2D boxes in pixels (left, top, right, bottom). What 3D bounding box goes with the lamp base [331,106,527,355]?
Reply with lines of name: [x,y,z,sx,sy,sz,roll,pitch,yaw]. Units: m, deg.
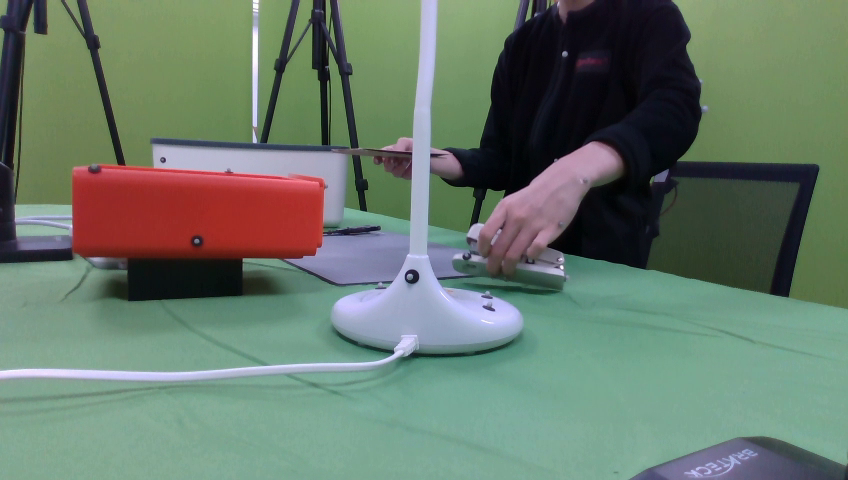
lamp base: [0.006,-0.012,0.478,0.161,0.180,0.179,2,10,2]

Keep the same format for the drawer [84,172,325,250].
drawer: [-0.227,-0.036,0.638,0.213,0.073,0.193,-1,9,-23]

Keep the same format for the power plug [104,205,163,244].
power plug: [-0.390,-0.021,0.815,0.073,0.052,0.035,-1,8,-28]

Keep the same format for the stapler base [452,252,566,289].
stapler base: [0.098,0.028,0.691,0.130,0.024,0.041,11,-21,15]

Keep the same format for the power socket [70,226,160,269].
power socket: [-0.409,0.004,0.793,0.072,0.032,0.225,-2,8,-38]

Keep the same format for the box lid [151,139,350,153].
box lid: [-0.352,-0.191,1.255,0.373,0.015,0.262,0,8,-18]

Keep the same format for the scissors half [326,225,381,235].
scissors half: [-0.152,-0.014,1.079,0.176,0.013,0.040,-7,2,-33]

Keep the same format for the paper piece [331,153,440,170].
paper piece: [-0.059,-0.117,0.891,0.136,0.004,0.135,2,14,-21]

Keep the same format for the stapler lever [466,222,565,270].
stapler lever: [0.106,0.007,0.700,0.118,0.040,0.027,10,-21,15]

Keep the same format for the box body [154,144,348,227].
box body: [-0.357,-0.119,1.264,0.365,0.160,0.253,0,7,-18]

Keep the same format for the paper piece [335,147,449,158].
paper piece: [-0.049,-0.129,0.888,0.139,0.008,0.135,2,8,-29]

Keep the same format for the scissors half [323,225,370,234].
scissors half: [-0.166,-0.015,1.094,0.040,0.013,0.176,2,7,39]

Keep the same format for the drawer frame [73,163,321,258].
drawer frame: [-0.232,-0.034,0.635,0.214,0.082,0.201,1,8,-23]
